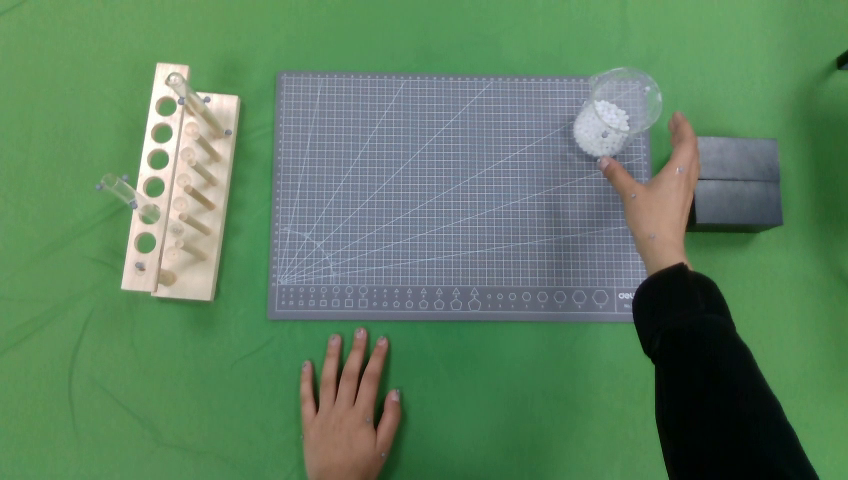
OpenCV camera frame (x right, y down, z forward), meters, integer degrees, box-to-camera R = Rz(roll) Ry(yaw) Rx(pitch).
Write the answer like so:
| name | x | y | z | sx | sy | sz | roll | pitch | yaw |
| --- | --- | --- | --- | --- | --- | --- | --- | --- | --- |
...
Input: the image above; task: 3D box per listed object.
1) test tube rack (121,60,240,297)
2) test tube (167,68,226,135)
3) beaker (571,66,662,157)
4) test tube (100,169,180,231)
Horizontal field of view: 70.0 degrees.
| name | x | y | z | sx | sy | sz | roll | pitch | yaw |
| --- | --- | --- | --- | --- | --- | --- | --- | --- | --- |
| test tube rack | -0.262 | -0.063 | 0.665 | 0.067 | 0.085 | 0.241 | 5 | 81 | -1 |
| test tube | -0.235 | -0.142 | 0.632 | 0.017 | 0.151 | 0.017 | 0 | 80 | -2 |
| beaker | 0.209 | -0.142 | 0.686 | 0.084 | 0.100 | 0.074 | 38 | 81 | 6 |
| test tube | -0.281 | -0.036 | 0.610 | 0.017 | 0.151 | 0.017 | 0 | 74 | 0 |
